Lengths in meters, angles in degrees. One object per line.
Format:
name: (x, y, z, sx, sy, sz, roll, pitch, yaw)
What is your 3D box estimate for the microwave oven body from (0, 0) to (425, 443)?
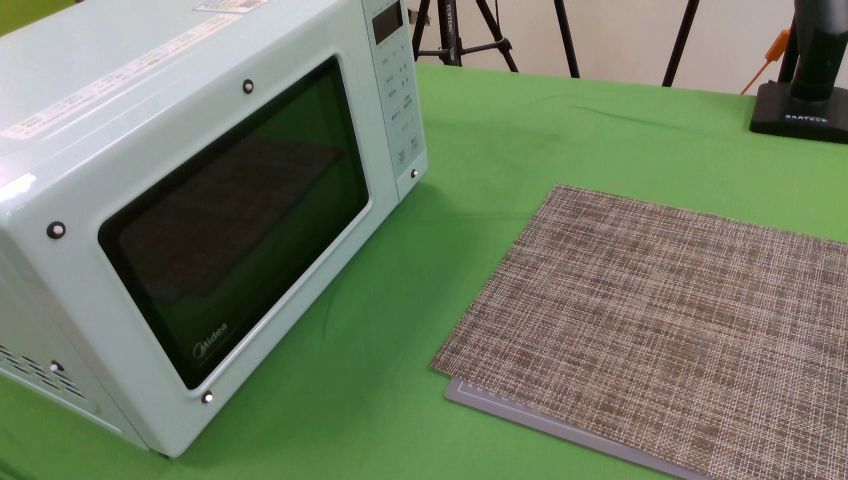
microwave oven body: (-0.248, -0.079, 0.604, 0.324, 0.263, 0.440, 14, 45, 25)

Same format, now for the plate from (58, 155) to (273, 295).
plate: (-0.252, -0.016, 0.610, 0.209, 0.038, 0.207, -6, 39, 5)

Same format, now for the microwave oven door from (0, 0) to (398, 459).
microwave oven door: (-0.139, -0.028, 0.512, 0.039, 0.246, 0.354, 13, 44, 25)

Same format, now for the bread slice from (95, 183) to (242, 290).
bread slice: (-0.255, -0.013, 0.615, 0.104, 0.019, 0.131, 22, 52, 31)

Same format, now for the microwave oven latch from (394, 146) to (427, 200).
microwave oven latch: (-0.024, -0.081, 0.719, 0.030, 0.030, 0.079, 14, 45, 25)
